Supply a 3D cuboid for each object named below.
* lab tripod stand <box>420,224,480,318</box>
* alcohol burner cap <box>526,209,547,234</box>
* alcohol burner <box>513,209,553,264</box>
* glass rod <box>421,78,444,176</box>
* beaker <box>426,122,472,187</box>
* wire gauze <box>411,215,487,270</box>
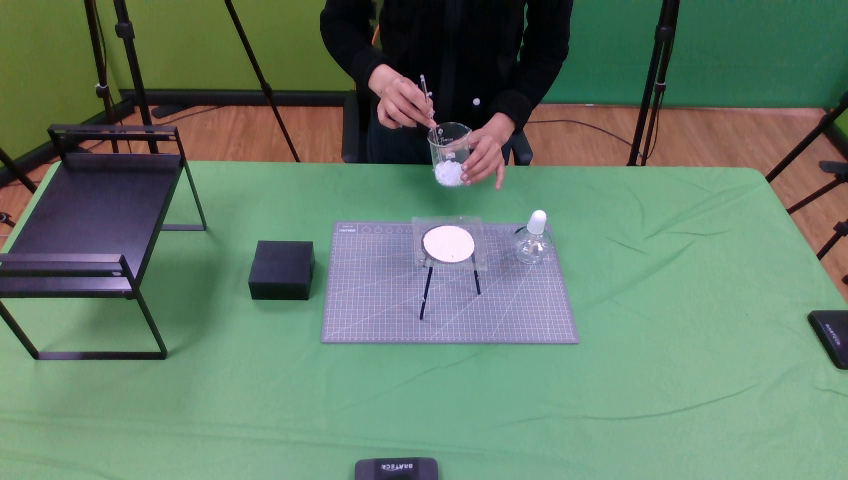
[{"bbox_3d":[0.034,0.052,1.070,0.148,0.132,0.147,3,48,-3],"label":"lab tripod stand"},{"bbox_3d":[0.212,-0.037,1.133,0.034,0.048,0.033,5,51,-5],"label":"alcohol burner cap"},{"bbox_3d":[0.210,-0.012,1.159,0.078,0.120,0.077,2,44,-1],"label":"alcohol burner"},{"bbox_3d":[0.017,-0.195,1.072,0.008,0.201,0.008,-8,41,7],"label":"glass rod"},{"bbox_3d":[0.051,-0.155,1.108,0.084,0.101,0.073,-18,45,-7],"label":"beaker"},{"bbox_3d":[0.041,0.002,1.026,0.125,0.011,0.120,1,46,-3],"label":"wire gauze"}]
